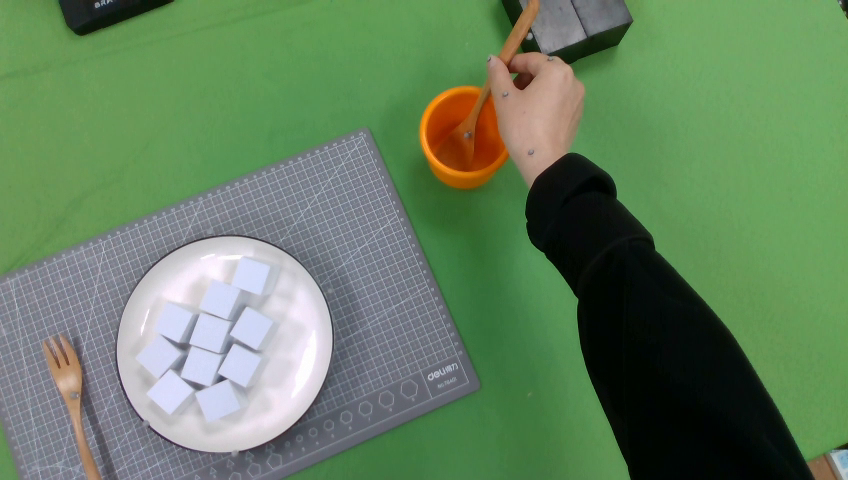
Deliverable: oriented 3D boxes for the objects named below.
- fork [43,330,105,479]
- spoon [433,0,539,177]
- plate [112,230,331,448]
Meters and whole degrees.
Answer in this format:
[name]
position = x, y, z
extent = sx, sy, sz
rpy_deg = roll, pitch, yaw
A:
[fork]
position = -0.330, 0.186, 0.591
extent = 0.028, 0.019, 0.206
rpy_deg = -21, 80, -8
[spoon]
position = 0.058, -0.140, 0.578
extent = 0.041, 0.194, 0.021
rpy_deg = 43, 41, 17
[plate]
position = -0.193, 0.095, 0.595
extent = 0.208, 0.039, 0.207
rpy_deg = 0, 82, 0
